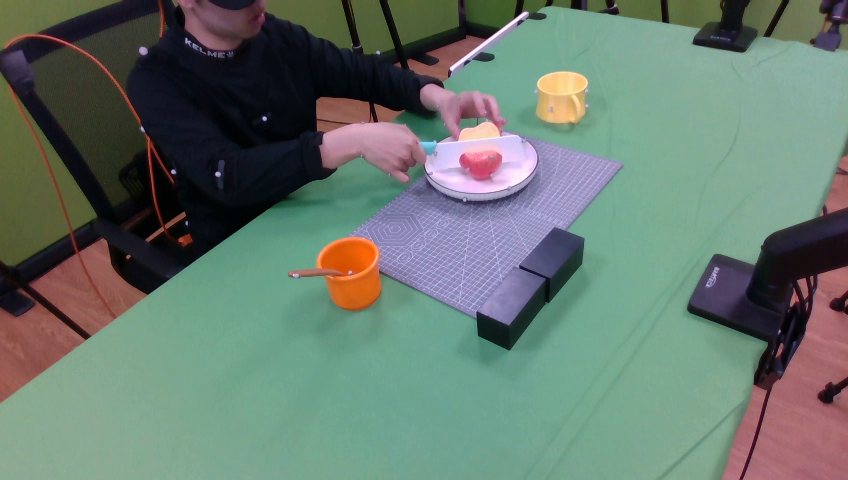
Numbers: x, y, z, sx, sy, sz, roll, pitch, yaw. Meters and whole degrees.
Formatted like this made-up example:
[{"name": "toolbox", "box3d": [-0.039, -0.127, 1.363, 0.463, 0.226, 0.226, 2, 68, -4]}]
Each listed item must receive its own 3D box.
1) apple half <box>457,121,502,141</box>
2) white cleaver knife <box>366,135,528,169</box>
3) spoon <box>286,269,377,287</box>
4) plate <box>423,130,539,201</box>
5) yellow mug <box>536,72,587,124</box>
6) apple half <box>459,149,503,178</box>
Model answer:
[{"name": "apple half", "box3d": [0.105, -0.170, 1.090, 0.080, 0.053, 0.074, -19, 83, 15]}, {"name": "white cleaver knife", "box3d": [0.036, -0.148, 1.060, 0.286, 0.066, 0.021, -2, 46, 12]}, {"name": "spoon", "box3d": [-0.125, 0.049, 0.831, 0.041, 0.195, 0.021, 22, 92, 28]}, {"name": "plate", "box3d": [0.103, -0.132, 1.092, 0.209, 0.038, 0.208, -4, 40, 4]}, {"name": "yellow mug", "box3d": [0.285, -0.281, 1.222, 0.100, 0.064, 0.130, -16, 42, -9]}, {"name": "apple half", "box3d": [0.101, -0.125, 1.053, 0.081, 0.081, 0.032, -2, 66, 7]}]
